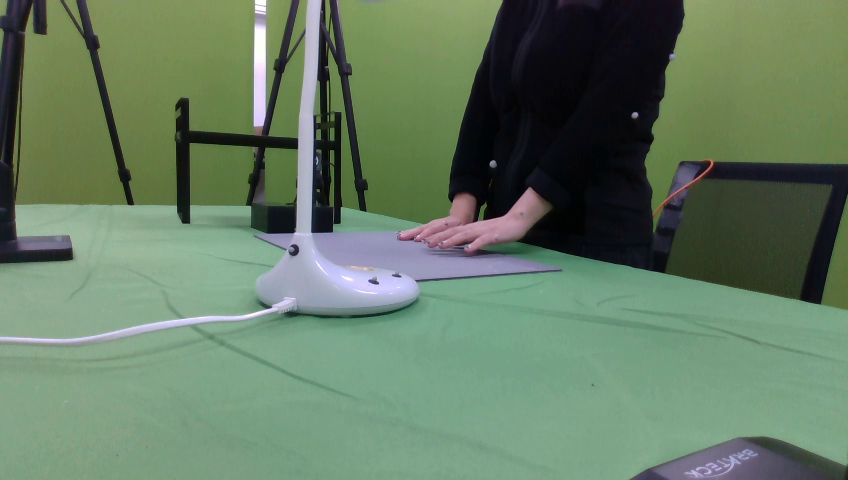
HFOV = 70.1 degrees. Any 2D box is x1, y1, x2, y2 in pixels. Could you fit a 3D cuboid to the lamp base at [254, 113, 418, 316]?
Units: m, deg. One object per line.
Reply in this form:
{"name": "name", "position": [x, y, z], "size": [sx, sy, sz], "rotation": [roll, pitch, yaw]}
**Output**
{"name": "lamp base", "position": [-0.086, -0.027, 0.577], "size": [0.160, 0.180, 0.179], "rotation": [4, 10, 16]}

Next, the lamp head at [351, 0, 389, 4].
{"name": "lamp head", "position": [-0.053, -0.313, 0.597], "size": [0.112, 0.112, 0.123], "rotation": [6, -28, 25]}
